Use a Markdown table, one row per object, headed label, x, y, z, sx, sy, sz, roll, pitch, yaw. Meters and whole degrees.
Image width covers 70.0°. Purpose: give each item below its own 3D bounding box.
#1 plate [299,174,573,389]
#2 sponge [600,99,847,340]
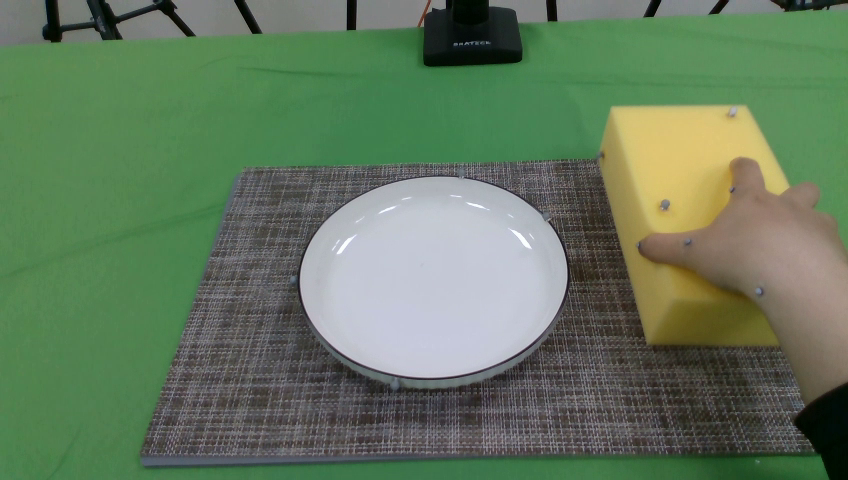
| label | x | y | z | sx | sy | sz | roll | pitch | yaw |
| --- | --- | --- | --- | --- | --- | --- | --- | --- | --- |
| plate | 0.009 | 0.028 | 0.474 | 0.207 | 0.039 | 0.205 | -2 | 46 | 2 |
| sponge | 0.221 | -0.024 | 0.479 | 0.118 | 0.061 | 0.205 | -1 | 51 | 1 |
